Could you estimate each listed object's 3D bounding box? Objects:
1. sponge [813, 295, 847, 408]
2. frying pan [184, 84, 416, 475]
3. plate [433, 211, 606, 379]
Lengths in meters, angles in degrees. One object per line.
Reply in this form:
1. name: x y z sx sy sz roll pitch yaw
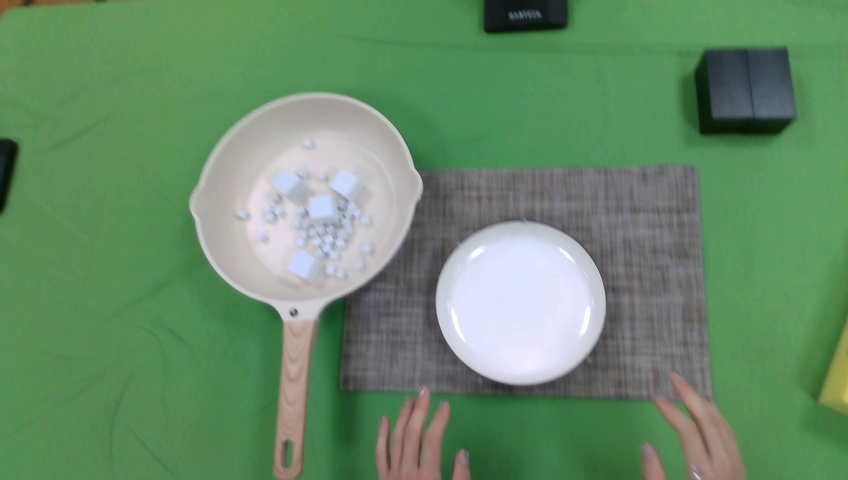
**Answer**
1. sponge: 0.543 0.103 0.680 0.118 0.061 0.206 23 80 13
2. frying pan: -0.157 0.035 0.759 0.306 0.103 0.484 -4 67 9
3. plate: 0.116 0.067 0.751 0.207 0.039 0.206 -2 75 7
